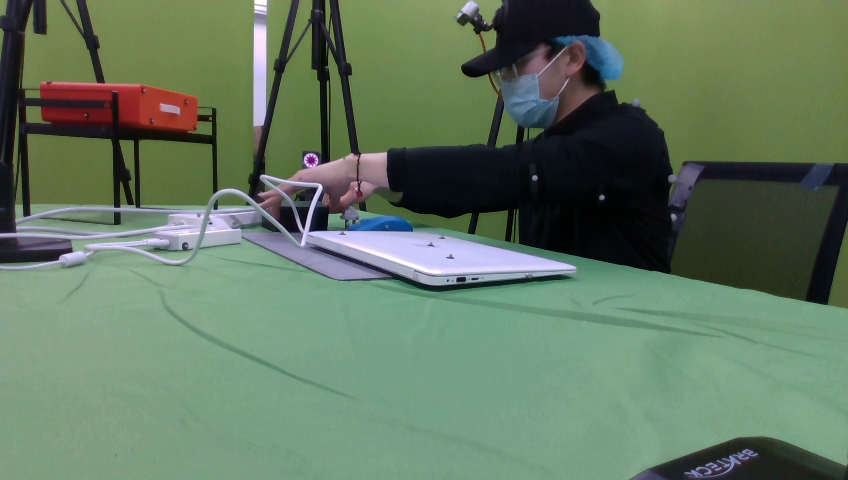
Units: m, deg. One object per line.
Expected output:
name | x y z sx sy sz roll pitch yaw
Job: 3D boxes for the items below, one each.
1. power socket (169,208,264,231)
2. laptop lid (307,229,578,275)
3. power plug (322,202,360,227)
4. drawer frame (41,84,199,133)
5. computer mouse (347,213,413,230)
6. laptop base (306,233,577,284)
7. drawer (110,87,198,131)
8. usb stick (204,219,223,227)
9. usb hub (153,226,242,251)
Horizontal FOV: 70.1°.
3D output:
power socket | -0.381 -0.038 1.128 0.072 0.032 0.227 4 8 16
laptop lid | 0.009 0.010 0.849 0.243 0.013 0.355 0 8 -32
power plug | -0.164 -0.049 1.206 0.072 0.052 0.035 3 5 10
drawer frame | -0.604 -0.264 1.225 0.213 0.082 0.202 3 8 8
computer mouse | -0.079 -0.025 1.080 0.117 0.041 0.062 -5 12 -18
laptop base | 0.007 0.022 0.850 0.237 0.023 0.352 1 7 -34
drawer | -0.602 -0.263 1.225 0.211 0.073 0.195 3 8 10
usb stick | -0.346 -0.018 1.010 0.021 0.027 0.059 -43 -1 -8
usb hub | -0.337 -0.003 0.907 0.049 0.025 0.125 6 9 28
